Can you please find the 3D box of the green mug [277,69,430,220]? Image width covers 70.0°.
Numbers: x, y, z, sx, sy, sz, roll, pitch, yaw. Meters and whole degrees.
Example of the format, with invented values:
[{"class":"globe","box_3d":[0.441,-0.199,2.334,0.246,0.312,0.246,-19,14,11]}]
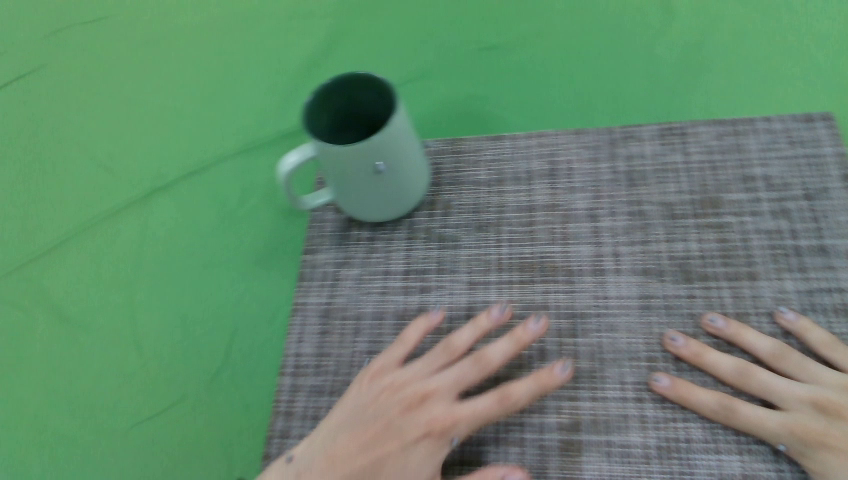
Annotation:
[{"class":"green mug","box_3d":[-0.061,-0.068,0.505,0.125,0.106,0.091,-30,59,-6]}]
